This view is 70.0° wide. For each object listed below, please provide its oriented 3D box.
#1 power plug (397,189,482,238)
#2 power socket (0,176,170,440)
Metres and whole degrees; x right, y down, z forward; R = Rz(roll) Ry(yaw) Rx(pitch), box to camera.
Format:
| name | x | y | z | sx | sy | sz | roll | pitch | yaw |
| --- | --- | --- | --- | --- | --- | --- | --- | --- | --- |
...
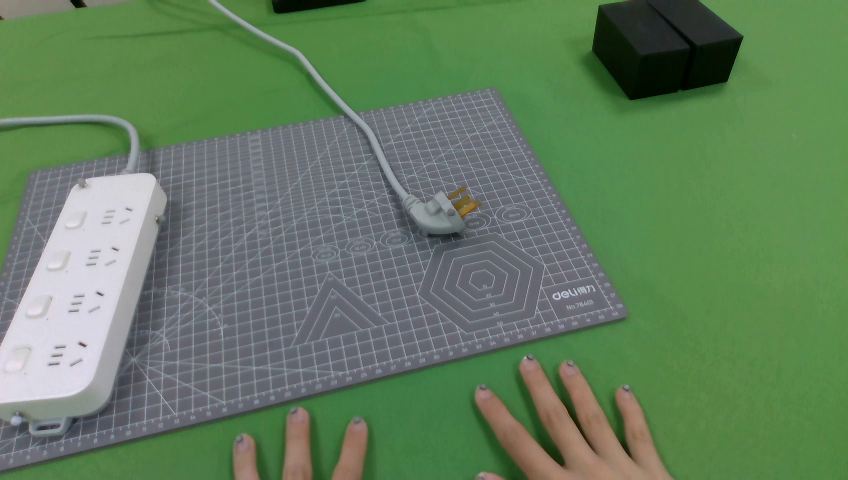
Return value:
| name | x | y | z | sx | sy | sz | roll | pitch | yaw |
| --- | --- | --- | --- | --- | --- | --- | --- | --- | --- |
| power plug | 0.010 | -0.032 | 0.484 | 0.052 | 0.035 | 0.072 | -32 | 64 | -3 |
| power socket | -0.244 | 0.033 | 0.445 | 0.072 | 0.033 | 0.224 | -4 | 47 | -2 |
